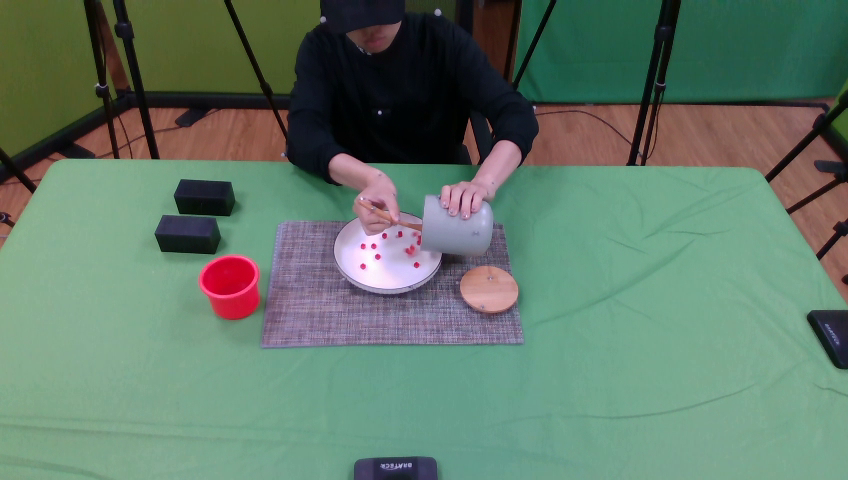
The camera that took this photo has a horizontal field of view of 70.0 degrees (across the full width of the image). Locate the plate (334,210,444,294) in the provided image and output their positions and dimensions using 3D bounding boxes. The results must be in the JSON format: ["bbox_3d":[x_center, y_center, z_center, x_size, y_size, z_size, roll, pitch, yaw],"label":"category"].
[{"bbox_3d":[-0.066,0.026,1.150,0.208,0.039,0.206,2,46,-2],"label":"plate"}]

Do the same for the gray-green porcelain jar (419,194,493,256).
[{"bbox_3d":[0.058,-0.027,1.107,0.126,0.106,0.105,5,46,-1],"label":"gray-green porcelain jar"}]

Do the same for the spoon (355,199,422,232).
[{"bbox_3d":[-0.039,-0.032,1.095,0.194,0.022,0.041,20,35,-23],"label":"spoon"}]

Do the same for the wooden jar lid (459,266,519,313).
[{"bbox_3d":[0.118,0.093,1.111,0.108,0.021,0.107,1,47,-1],"label":"wooden jar lid"}]
